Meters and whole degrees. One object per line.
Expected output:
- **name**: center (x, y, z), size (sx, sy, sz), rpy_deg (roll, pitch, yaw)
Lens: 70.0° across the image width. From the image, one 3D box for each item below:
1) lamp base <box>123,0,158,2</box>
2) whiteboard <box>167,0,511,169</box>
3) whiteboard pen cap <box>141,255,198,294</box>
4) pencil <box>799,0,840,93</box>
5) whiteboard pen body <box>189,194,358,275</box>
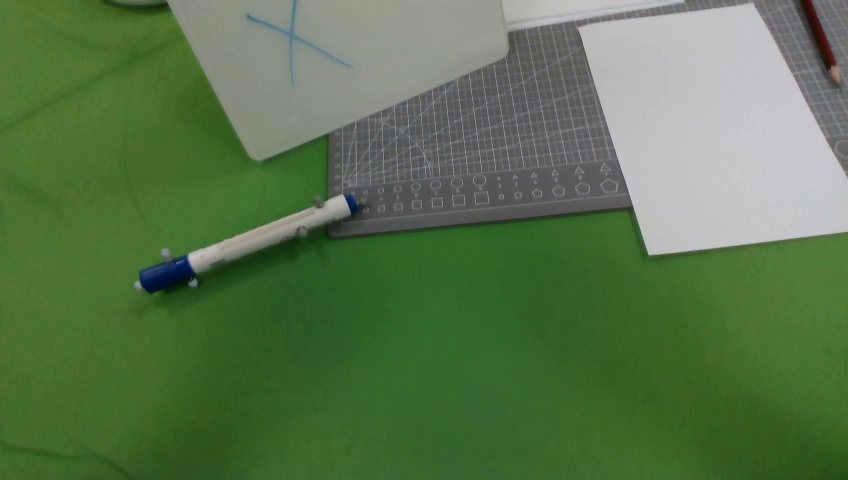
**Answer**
- **lamp base**: center (-0.264, -0.326, 0.509), size (0.178, 0.182, 0.160), rpy_deg (32, 69, 23)
- **whiteboard**: center (-0.087, -0.245, 0.410), size (0.217, 0.309, 0.142), rpy_deg (-24, 42, -7)
- **whiteboard pen cap**: center (-0.166, 0.022, 0.398), size (0.033, 0.018, 0.018), rpy_deg (-22, 61, -11)
- **pencil**: center (0.300, -0.192, 0.479), size (0.012, 0.012, 0.192), rpy_deg (-2, 64, 5)
- **whiteboard pen body**: center (-0.111, 0.000, 0.407), size (0.141, 0.017, 0.017), rpy_deg (-22, 61, -8)
